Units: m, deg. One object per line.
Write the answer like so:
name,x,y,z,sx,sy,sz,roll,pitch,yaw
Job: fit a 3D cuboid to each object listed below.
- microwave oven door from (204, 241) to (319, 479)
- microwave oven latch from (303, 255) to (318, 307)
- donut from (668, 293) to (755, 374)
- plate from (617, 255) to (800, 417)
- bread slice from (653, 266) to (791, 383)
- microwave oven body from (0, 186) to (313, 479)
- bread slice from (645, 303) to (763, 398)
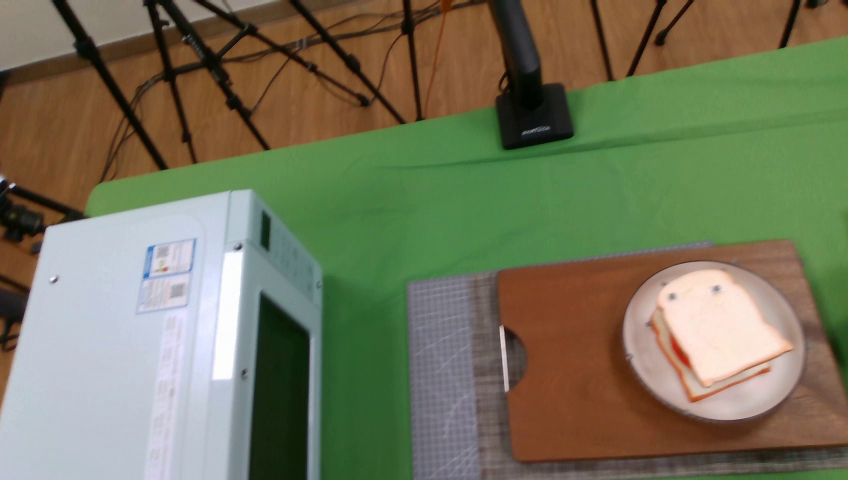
microwave oven door,-0.190,0.209,0.748,0.039,0.246,0.352,-10,61,9
microwave oven latch,-0.180,0.065,0.939,0.030,0.030,0.078,-10,62,9
donut,0.345,0.113,0.731,0.099,0.048,0.098,-3,66,7
plate,0.350,0.120,0.760,0.207,0.039,0.206,-6,62,12
bread slice,0.334,0.093,0.710,0.107,0.018,0.133,-27,53,1
microwave oven body,-0.334,0.200,0.796,0.326,0.263,0.437,-10,62,9
bread slice,0.343,0.122,0.764,0.105,0.019,0.130,-23,63,0
